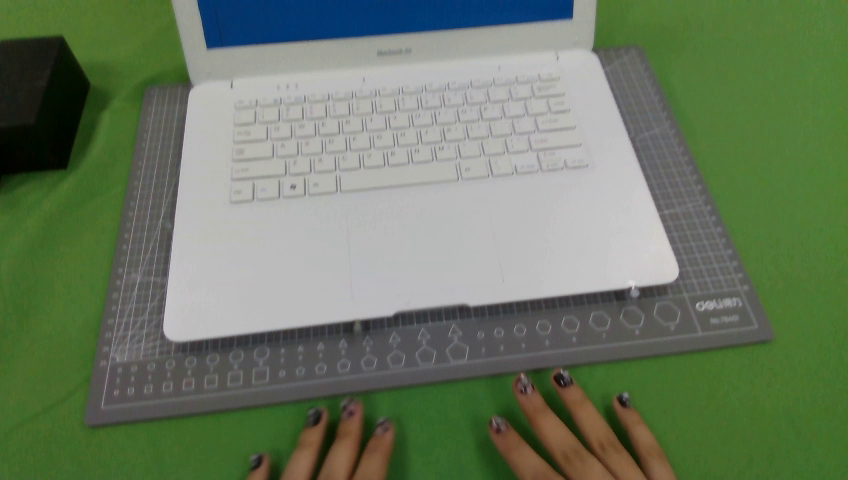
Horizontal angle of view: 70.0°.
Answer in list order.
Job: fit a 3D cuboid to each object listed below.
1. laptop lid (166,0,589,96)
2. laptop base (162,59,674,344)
[{"bbox_3d":[-0.035,-0.243,0.484,0.357,0.243,0.013,-8,28,-4],"label":"laptop lid"},{"bbox_3d":[-0.012,-0.044,0.474,0.355,0.023,0.233,-6,59,-5],"label":"laptop base"}]
